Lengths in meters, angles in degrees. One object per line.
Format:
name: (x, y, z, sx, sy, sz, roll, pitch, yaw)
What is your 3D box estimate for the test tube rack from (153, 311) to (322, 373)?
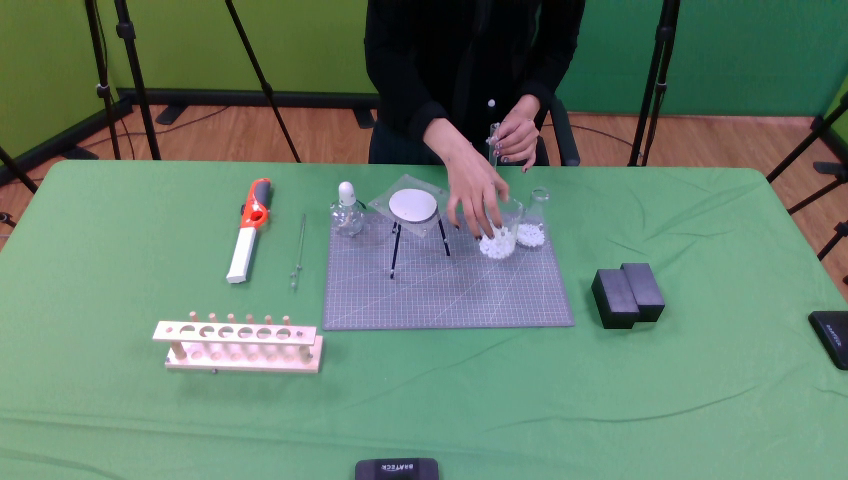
test tube rack: (-0.293, 0.160, 0.978, 0.242, 0.085, 0.066, 3, 46, -2)

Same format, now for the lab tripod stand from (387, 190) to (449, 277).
lab tripod stand: (-0.021, -0.018, 1.135, 0.148, 0.132, 0.147, 3, 44, -3)

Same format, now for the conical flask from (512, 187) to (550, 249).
conical flask: (0.217, -0.048, 1.190, 0.075, 0.122, 0.075, 2, 46, -2)

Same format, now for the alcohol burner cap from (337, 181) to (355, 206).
alcohol burner cap: (-0.151, -0.090, 1.157, 0.034, 0.048, 0.033, 0, 52, 0)

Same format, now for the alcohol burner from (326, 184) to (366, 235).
alcohol burner: (-0.152, -0.066, 1.184, 0.078, 0.119, 0.077, 4, 46, -4)

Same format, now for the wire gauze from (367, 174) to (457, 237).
wire gauze: (-0.021, -0.067, 1.089, 0.124, 0.011, 0.121, 28, 49, 21)

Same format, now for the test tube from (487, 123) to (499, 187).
test tube: (0.127, -0.154, 1.128, 0.017, 0.151, 0.017, -1, 50, 2)

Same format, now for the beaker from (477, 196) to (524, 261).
beaker: (0.135, -0.019, 1.083, 0.084, 0.101, 0.073, -15, 48, -15)

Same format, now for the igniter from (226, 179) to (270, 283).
igniter: (-0.345, -0.027, 1.195, 0.057, 0.025, 0.274, -6, 46, 5)

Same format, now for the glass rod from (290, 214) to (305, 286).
glass rod: (-0.245, 0.015, 1.176, 0.008, 0.008, 0.198, 1, 43, -3)
